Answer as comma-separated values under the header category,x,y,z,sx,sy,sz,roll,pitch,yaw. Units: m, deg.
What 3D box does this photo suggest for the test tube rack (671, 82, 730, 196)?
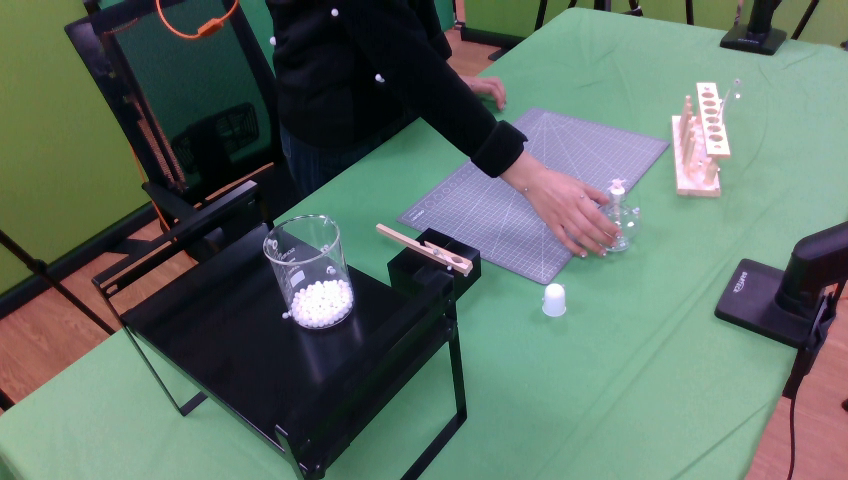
category,x,y,z,sx,sy,sz,roll,pitch,yaw
test tube rack,0.482,-0.184,1.067,0.066,0.085,0.242,6,42,15

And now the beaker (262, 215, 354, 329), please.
category,x,y,z,sx,sy,sz,roll,pitch,yaw
beaker,-0.112,0.034,0.616,0.073,0.101,0.084,13,44,22

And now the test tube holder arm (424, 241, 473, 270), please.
category,x,y,z,sx,sy,sz,roll,pitch,yaw
test tube holder arm,0.032,0.022,0.872,0.087,0.015,0.010,22,49,31

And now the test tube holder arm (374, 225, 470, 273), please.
category,x,y,z,sx,sy,sz,roll,pitch,yaw
test tube holder arm,-0.007,0.011,0.892,0.177,0.015,0.013,22,49,31

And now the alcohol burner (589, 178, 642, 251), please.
category,x,y,z,sx,sy,sz,roll,pitch,yaw
alcohol burner,0.290,-0.042,0.910,0.078,0.119,0.077,-6,41,5

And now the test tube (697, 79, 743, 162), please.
category,x,y,z,sx,sy,sz,roll,pitch,yaw
test tube,0.486,-0.194,0.998,0.017,0.150,0.017,5,40,-4

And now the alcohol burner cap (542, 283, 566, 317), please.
category,x,y,z,sx,sy,sz,roll,pitch,yaw
alcohol burner cap,0.181,0.081,0.840,0.034,0.048,0.033,-4,41,4
